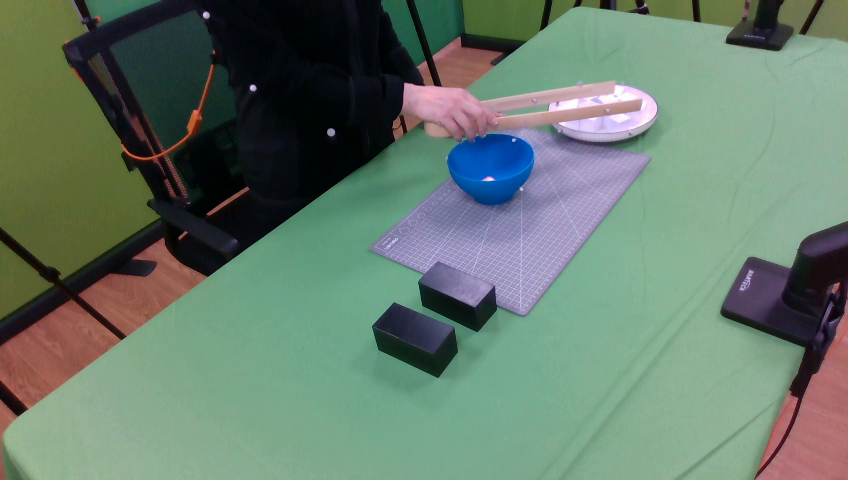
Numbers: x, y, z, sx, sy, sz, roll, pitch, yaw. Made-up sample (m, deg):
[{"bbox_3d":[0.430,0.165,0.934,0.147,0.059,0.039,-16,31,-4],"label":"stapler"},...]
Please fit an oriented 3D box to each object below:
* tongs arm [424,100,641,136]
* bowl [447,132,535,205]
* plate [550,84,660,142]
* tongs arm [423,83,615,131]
[{"bbox_3d":[0.193,-0.213,1.047,0.389,0.028,0.028,-8,41,-9],"label":"tongs arm"},{"bbox_3d":[0.119,-0.115,1.051,0.151,0.077,0.150,-6,40,5],"label":"bowl"},{"bbox_3d":[0.355,-0.246,1.195,0.207,0.039,0.206,-5,39,5],"label":"plate"},{"bbox_3d":[0.181,-0.241,1.086,0.386,0.026,0.050,-10,38,-12],"label":"tongs arm"}]
